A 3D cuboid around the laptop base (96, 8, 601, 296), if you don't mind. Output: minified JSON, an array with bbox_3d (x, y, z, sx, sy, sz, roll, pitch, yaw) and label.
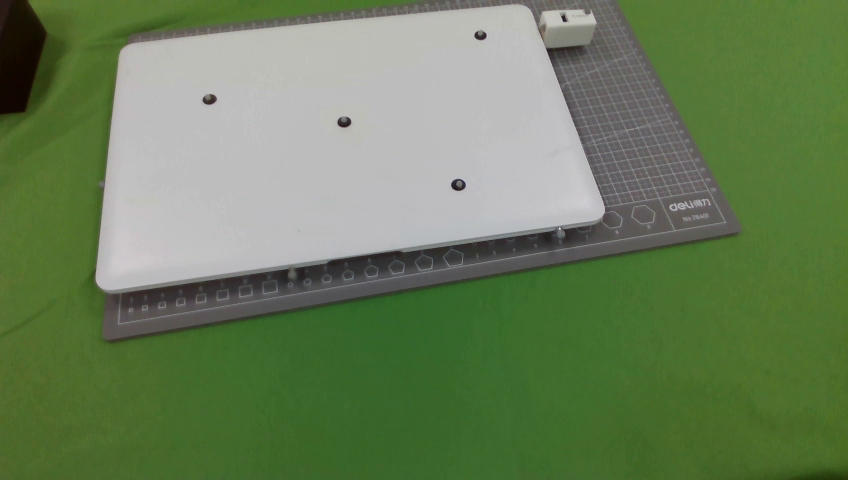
[{"bbox_3d":[-0.063,-0.083,0.478,0.355,0.023,0.233,-8,62,-7],"label":"laptop base"}]

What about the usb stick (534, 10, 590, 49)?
[{"bbox_3d":[0.113,-0.184,0.530,0.059,0.027,0.021,-8,60,-4],"label":"usb stick"}]

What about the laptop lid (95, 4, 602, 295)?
[{"bbox_3d":[-0.063,-0.087,0.467,0.357,0.013,0.239,-7,61,-6],"label":"laptop lid"}]
